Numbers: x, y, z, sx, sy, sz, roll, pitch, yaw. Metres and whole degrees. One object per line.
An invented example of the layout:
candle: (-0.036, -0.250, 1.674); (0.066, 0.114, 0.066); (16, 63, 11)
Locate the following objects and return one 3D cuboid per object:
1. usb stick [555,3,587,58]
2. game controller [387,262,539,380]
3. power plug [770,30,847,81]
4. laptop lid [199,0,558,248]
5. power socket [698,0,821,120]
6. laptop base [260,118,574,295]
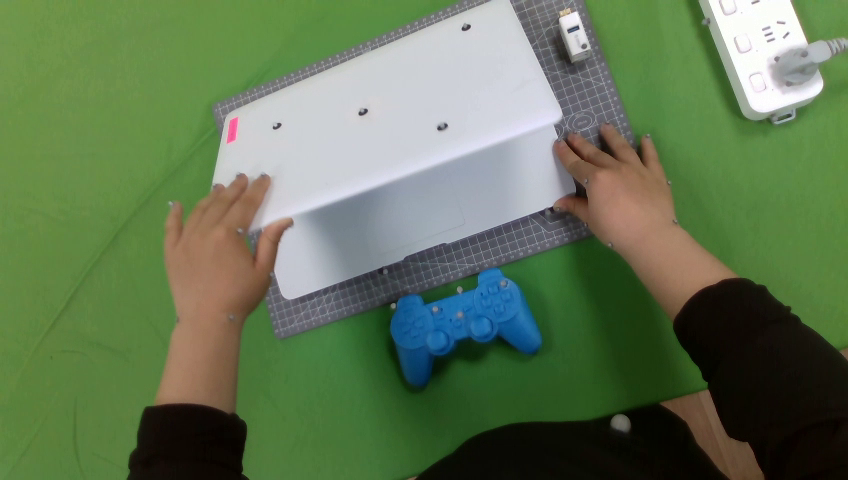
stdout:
usb stick: (0.154, -0.227, 0.645); (0.021, 0.027, 0.059); (-20, 81, 14)
game controller: (0.035, 0.085, 0.641); (0.155, 0.052, 0.096); (-18, 78, 10)
power plug: (0.369, -0.172, 0.574); (0.072, 0.053, 0.035); (-6, 83, 7)
laptop lid: (-0.063, -0.131, 0.610); (0.356, 0.013, 0.239); (-19, 46, 11)
power socket: (0.324, -0.232, 0.608); (0.072, 0.033, 0.226); (-18, 82, 11)
laptop base: (-0.037, -0.102, 0.684); (0.354, 0.023, 0.235); (-20, 85, 10)
